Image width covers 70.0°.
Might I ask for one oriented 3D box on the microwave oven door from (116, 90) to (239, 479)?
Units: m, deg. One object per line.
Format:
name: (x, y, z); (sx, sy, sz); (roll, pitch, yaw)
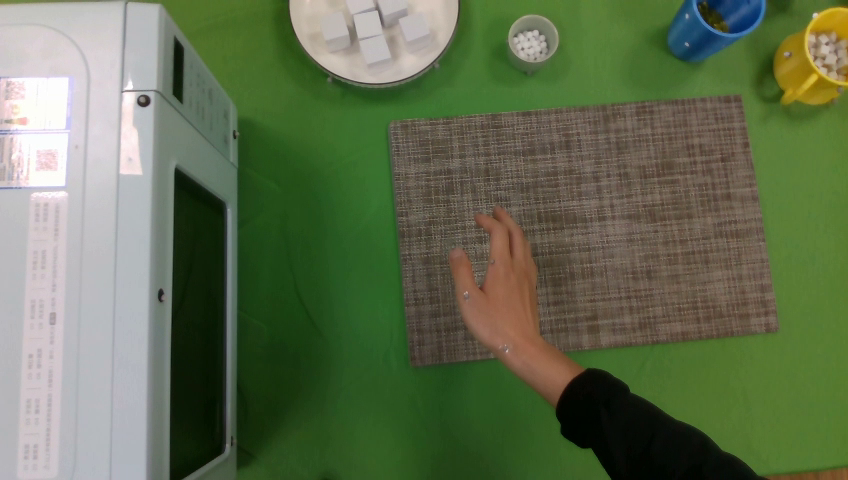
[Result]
microwave oven door: (-0.227, 0.069, 0.578); (0.039, 0.244, 0.354); (-3, 83, -2)

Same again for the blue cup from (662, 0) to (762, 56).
blue cup: (0.338, -0.271, 0.732); (0.093, 0.100, 0.092); (0, 84, -3)

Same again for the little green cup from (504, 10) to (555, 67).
little green cup: (0.128, -0.248, 0.753); (0.061, 0.039, 0.061); (0, 82, -2)

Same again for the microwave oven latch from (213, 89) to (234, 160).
microwave oven latch: (-0.237, -0.134, 0.706); (0.030, 0.029, 0.079); (0, 83, -3)

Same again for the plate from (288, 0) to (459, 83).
plate: (-0.062, -0.291, 0.751); (0.208, 0.039, 0.207); (0, 83, -2)

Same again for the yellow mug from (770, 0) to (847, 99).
yellow mug: (0.486, -0.224, 0.749); (0.100, 0.064, 0.131); (43, 84, 3)

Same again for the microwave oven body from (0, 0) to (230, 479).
microwave oven body: (-0.375, 0.033, 0.582); (0.326, 0.260, 0.440); (-2, 83, -3)

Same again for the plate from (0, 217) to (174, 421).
plate: (-0.363, 0.080, 0.630); (0.209, 0.038, 0.208); (0, 82, -2)

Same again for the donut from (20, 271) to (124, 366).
donut: (-0.359, 0.080, 0.620); (0.099, 0.048, 0.099); (0, 92, -4)
